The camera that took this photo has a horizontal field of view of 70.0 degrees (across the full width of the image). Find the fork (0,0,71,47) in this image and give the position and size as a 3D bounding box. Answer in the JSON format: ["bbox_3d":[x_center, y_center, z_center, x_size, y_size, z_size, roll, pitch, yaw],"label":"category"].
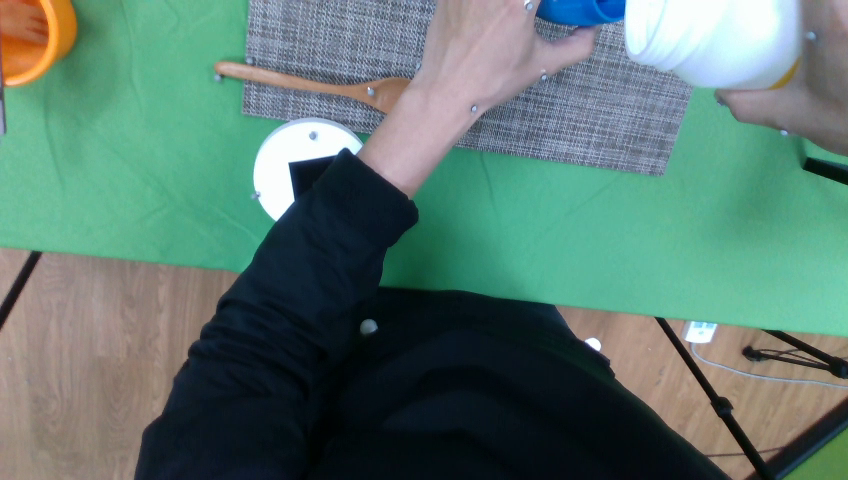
[{"bbox_3d":[-0.351,-0.169,0.416,0.208,0.018,0.028,-5,131,-59],"label":"fork"}]

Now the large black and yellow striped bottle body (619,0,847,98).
[{"bbox_3d":[0.225,-0.157,0.366,0.184,0.130,0.131,5,113,0],"label":"large black and yellow striped bottle body"}]

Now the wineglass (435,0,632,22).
[{"bbox_3d":[0.077,-0.207,0.463,0.074,0.170,0.074,-16,118,-32],"label":"wineglass"}]

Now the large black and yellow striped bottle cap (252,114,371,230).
[{"bbox_3d":[-0.109,-0.064,0.591,0.115,0.018,0.116,-6,118,-10],"label":"large black and yellow striped bottle cap"}]

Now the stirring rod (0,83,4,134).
[{"bbox_3d":[-0.310,-0.160,0.426,0.014,0.005,0.177,5,112,-14],"label":"stirring rod"}]

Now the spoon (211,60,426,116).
[{"bbox_3d":[-0.093,-0.143,0.553,0.194,0.021,0.042,5,134,-15],"label":"spoon"}]
